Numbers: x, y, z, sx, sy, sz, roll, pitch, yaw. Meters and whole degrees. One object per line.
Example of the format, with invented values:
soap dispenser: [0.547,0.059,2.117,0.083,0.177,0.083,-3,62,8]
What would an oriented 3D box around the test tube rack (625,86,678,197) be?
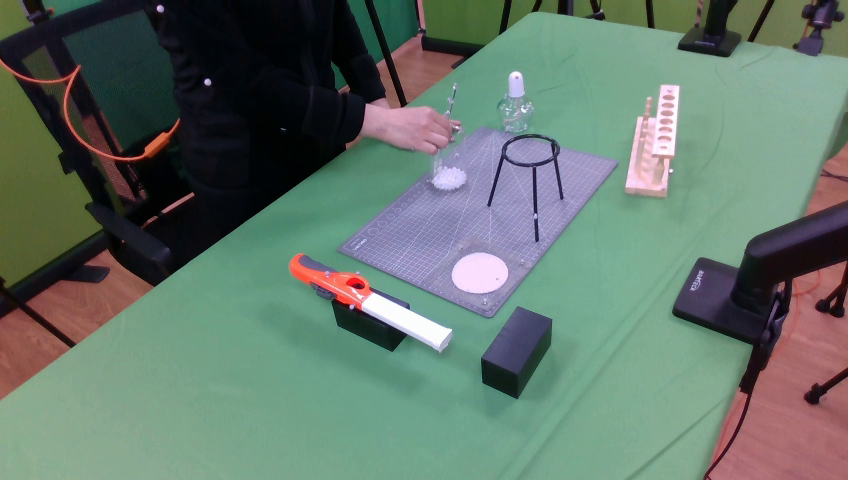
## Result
test tube rack: [0.412,-0.184,1.088,0.066,0.085,0.242,9,43,18]

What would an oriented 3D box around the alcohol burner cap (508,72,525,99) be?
alcohol burner cap: [0.181,-0.306,1.186,0.034,0.048,0.033,-7,39,6]

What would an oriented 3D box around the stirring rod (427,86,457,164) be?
stirring rod: [0.030,-0.194,1.037,0.006,0.176,0.014,39,53,15]

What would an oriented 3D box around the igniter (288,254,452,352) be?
igniter: [-0.083,0.079,0.818,0.274,0.025,0.057,23,46,27]

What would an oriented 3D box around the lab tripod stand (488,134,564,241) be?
lab tripod stand: [0.168,-0.092,0.972,0.148,0.132,0.147,-5,41,5]

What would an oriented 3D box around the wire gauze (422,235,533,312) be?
wire gauze: [0.081,0.049,0.914,0.120,0.011,0.125,26,52,32]

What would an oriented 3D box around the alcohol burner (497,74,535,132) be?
alcohol burner: [0.184,-0.278,1.210,0.078,0.119,0.077,-3,42,3]

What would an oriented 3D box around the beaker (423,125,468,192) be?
beaker: [0.042,-0.144,1.078,0.073,0.100,0.084,28,51,34]
